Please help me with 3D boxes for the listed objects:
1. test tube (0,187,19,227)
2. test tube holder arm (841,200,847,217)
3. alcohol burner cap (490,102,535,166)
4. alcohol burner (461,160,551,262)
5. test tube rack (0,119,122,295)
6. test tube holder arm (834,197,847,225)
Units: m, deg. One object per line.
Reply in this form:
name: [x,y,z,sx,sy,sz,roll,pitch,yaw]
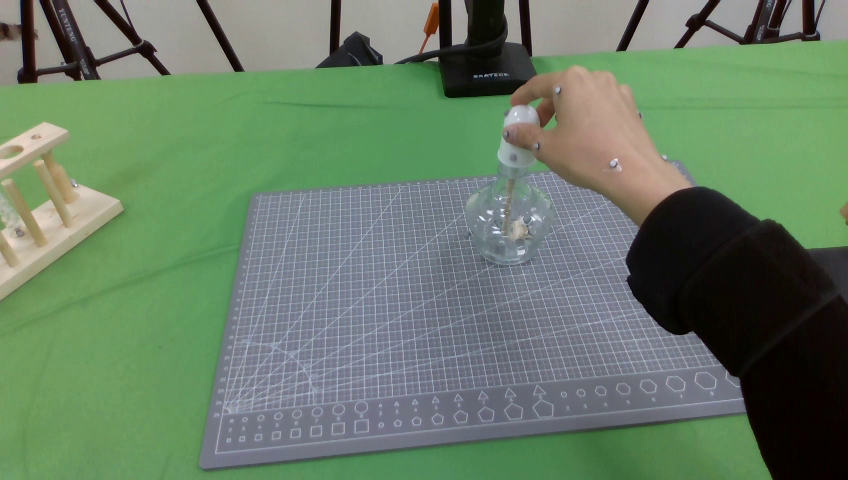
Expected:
test tube: [-0.385,-0.071,0.512,0.017,0.151,0.017,-2,40,2]
test tube holder arm: [0.355,0.030,0.435,0.013,0.015,0.176,2,43,-8]
alcohol burner cap: [0.071,-0.084,0.475,0.034,0.048,0.033,4,44,-3]
alcohol burner: [0.070,-0.040,0.514,0.078,0.120,0.077,-1,41,1]
test tube rack: [-0.388,-0.001,0.510,0.066,0.086,0.241,20,47,21]
test tube holder arm: [0.347,-0.001,0.467,0.010,0.015,0.087,2,43,-7]
